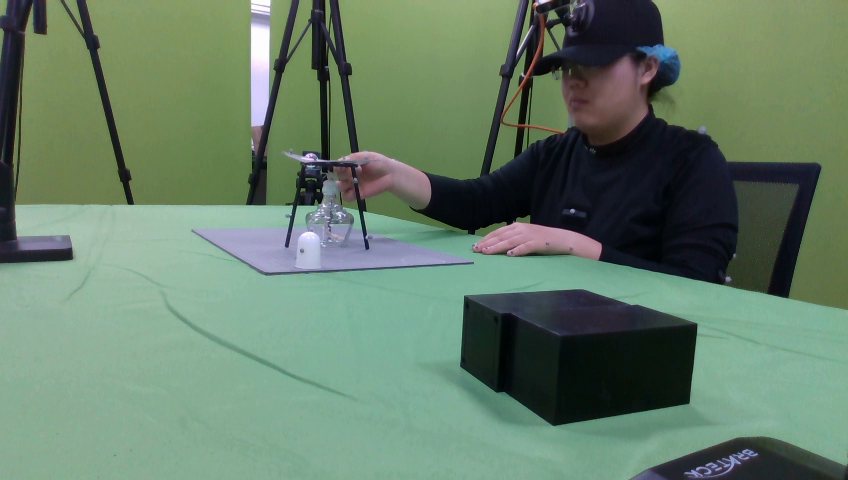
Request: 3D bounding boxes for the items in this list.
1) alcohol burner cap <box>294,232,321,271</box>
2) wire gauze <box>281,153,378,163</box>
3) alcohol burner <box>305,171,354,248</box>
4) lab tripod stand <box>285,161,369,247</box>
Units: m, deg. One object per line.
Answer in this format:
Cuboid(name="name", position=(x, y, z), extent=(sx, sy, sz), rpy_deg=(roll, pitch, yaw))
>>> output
Cuboid(name="alcohol burner cap", position=(-0.144, 0.013, 0.748), extent=(0.034, 0.048, 0.034), rpy_deg=(3, 6, 0))
Cuboid(name="wire gauze", position=(-0.145, -0.125, 0.937), extent=(0.122, 0.011, 0.124), rpy_deg=(0, 8, -30))
Cuboid(name="alcohol burner", position=(-0.148, -0.048, 0.949), extent=(0.078, 0.119, 0.078), rpy_deg=(1, 6, 0))
Cuboid(name="lab tripod stand", position=(-0.151, -0.058, 0.947), extent=(0.148, 0.131, 0.148), rpy_deg=(1, 6, 0))
